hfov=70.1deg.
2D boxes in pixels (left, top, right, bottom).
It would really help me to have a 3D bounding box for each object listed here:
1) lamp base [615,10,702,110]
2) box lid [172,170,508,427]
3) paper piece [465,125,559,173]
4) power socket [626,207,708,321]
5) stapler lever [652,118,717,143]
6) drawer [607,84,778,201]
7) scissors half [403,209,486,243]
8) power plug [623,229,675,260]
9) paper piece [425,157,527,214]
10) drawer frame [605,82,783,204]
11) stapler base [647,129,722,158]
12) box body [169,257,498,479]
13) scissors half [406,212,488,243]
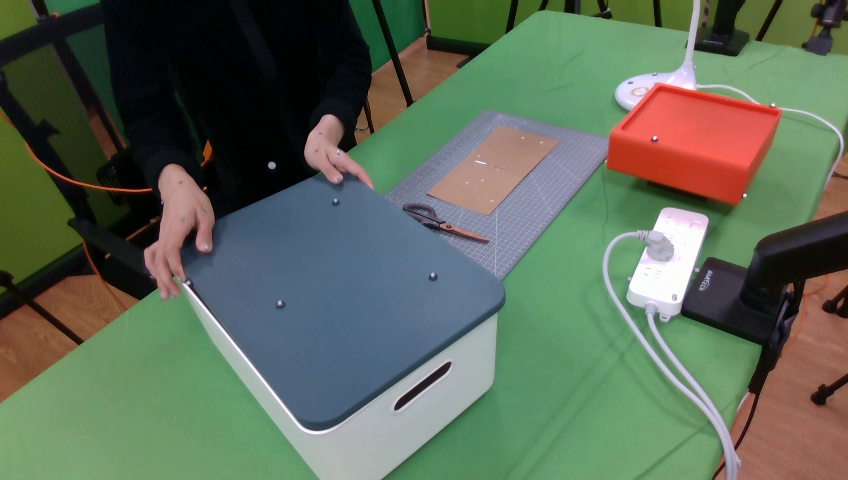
[{"bbox_3d":[0.484,-0.364,1.211,0.180,0.181,0.159,-15,41,-14],"label":"lamp base"},{"bbox_3d":[-0.113,0.035,0.713,0.264,0.015,0.368,-30,45,-27],"label":"box lid"},{"bbox_3d":[0.171,-0.177,1.168,0.137,0.009,0.136,21,44,30],"label":"paper piece"},{"bbox_3d":[0.360,0.026,0.886,0.072,0.033,0.227,16,46,26],"label":"power socket"},{"bbox_3d":[0.436,-0.192,1.014,0.118,0.040,0.026,-15,25,-16],"label":"stapler lever"},{"bbox_3d":[0.438,-0.167,0.995,0.210,0.073,0.195,23,48,30],"label":"drawer"},{"bbox_3d":[0.034,-0.023,1.011,0.174,0.013,0.040,23,20,34],"label":"scissors half"},{"bbox_3d":[0.327,0.007,0.878,0.072,0.053,0.035,25,51,33],"label":"power plug"},{"bbox_3d":[0.095,-0.103,1.089,0.134,0.004,0.136,22,48,30],"label":"paper piece"},{"bbox_3d":[0.441,-0.167,0.995,0.212,0.083,0.202,23,48,29],"label":"drawer frame"},{"bbox_3d":[0.439,-0.167,1.023,0.131,0.024,0.041,-16,25,-15],"label":"stapler base"},{"bbox_3d":[-0.110,0.103,0.761,0.255,0.161,0.361,-33,46,-27],"label":"box body"},{"bbox_3d":[0.024,-0.019,0.994,0.174,0.013,0.040,16,22,18],"label":"scissors half"}]
